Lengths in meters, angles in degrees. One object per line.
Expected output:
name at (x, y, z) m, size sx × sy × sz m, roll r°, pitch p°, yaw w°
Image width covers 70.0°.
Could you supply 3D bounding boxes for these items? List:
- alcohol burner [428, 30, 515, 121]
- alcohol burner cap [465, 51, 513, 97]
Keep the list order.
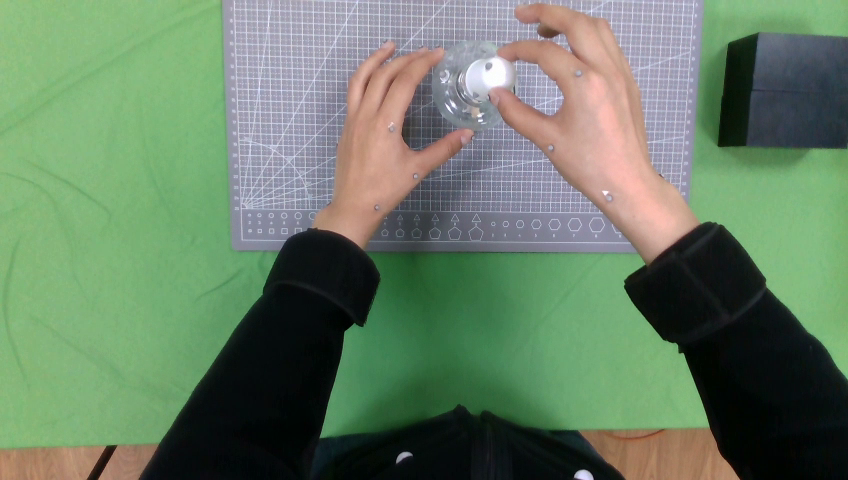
alcohol burner at (0.044, -0.142, 0.521) m, size 0.078 × 0.118 × 0.078 m, roll -1°, pitch 100°, yaw -6°
alcohol burner cap at (0.051, -0.128, 0.464) m, size 0.034 × 0.047 × 0.034 m, roll -1°, pitch 99°, yaw -6°
